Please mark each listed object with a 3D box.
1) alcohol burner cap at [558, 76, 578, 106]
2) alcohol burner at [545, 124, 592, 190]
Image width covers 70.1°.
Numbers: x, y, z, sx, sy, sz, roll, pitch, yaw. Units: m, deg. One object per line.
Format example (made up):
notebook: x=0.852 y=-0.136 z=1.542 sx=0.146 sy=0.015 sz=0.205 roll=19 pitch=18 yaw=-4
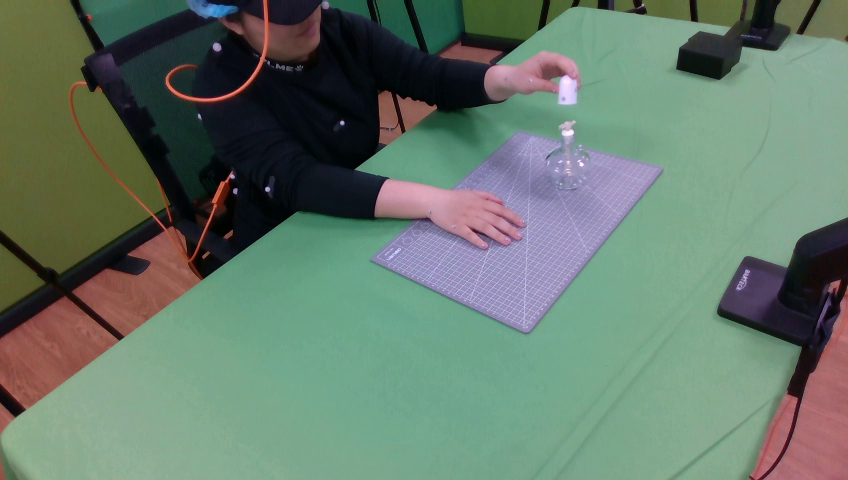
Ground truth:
alcohol burner cap: x=0.237 y=-0.244 z=0.994 sx=0.034 sy=0.048 sz=0.033 roll=-3 pitch=24 yaw=2
alcohol burner: x=0.247 y=-0.146 z=1.034 sx=0.078 sy=0.120 sz=0.077 roll=-7 pitch=41 yaw=6
